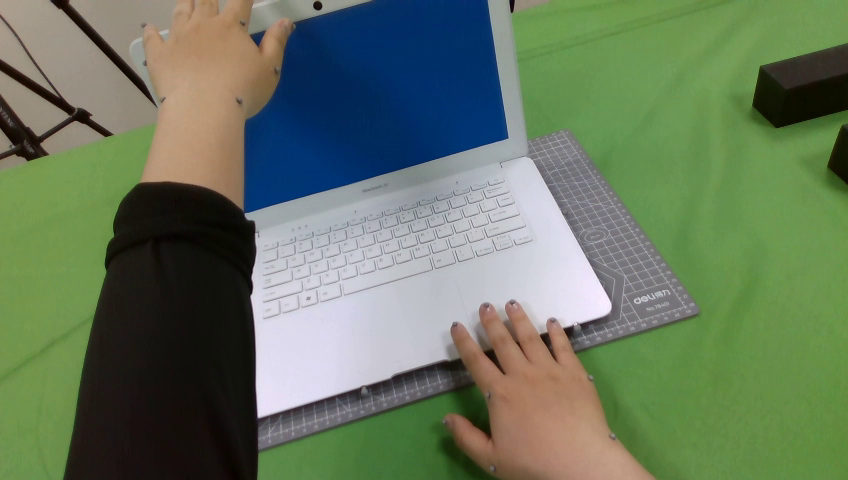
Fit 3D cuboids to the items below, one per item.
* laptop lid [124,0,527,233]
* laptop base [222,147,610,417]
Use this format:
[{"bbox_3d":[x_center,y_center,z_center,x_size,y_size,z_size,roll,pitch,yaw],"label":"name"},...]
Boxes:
[{"bbox_3d":[-0.078,-0.143,0.612,0.357,0.244,0.013,-18,37,0],"label":"laptop lid"},{"bbox_3d":[-0.027,0.028,0.603,0.354,0.023,0.233,-16,48,-1],"label":"laptop base"}]
